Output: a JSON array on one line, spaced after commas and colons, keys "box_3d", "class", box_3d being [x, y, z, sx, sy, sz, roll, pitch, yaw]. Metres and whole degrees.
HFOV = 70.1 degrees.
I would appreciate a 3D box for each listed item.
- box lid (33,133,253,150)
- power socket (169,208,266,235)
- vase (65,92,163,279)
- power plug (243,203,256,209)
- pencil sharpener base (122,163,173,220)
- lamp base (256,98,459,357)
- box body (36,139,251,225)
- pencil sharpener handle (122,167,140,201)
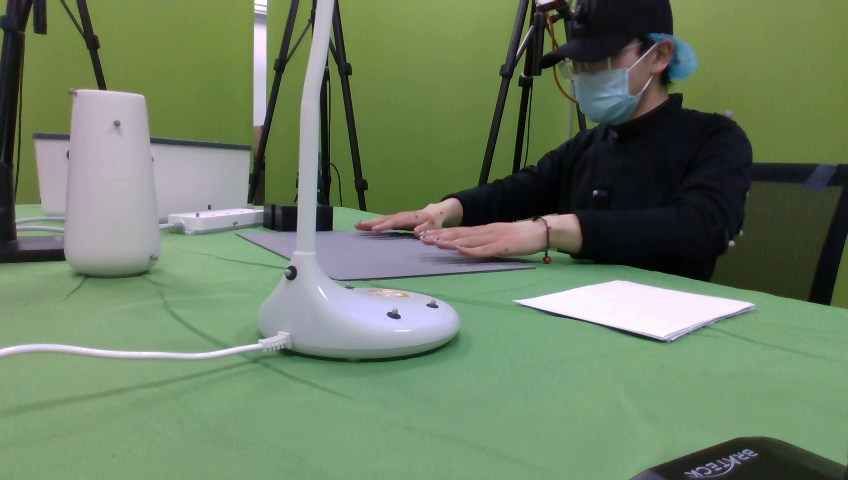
[{"box_3d": [-0.555, -0.199, 1.249, 0.263, 0.015, 0.372, 5, 8, 15], "class": "box lid"}, {"box_3d": [-0.379, -0.038, 1.129, 0.072, 0.032, 0.227, 4, 8, 18], "class": "power socket"}, {"box_3d": [-0.347, -0.060, 0.673, 0.098, 0.200, 0.098, 1, 7, 0], "class": "vase"}, {"box_3d": [-0.377, -0.049, 1.271, 0.052, 0.035, 0.072, -4, 35, 27], "class": "power plug"}, {"box_3d": [-0.539, -0.095, 1.174, 0.076, 0.107, 0.061, 4, 7, 21], "class": "pencil sharpener base"}, {"box_3d": [-0.055, -0.013, 0.463, 0.160, 0.180, 0.180, 6, 11, 27], "class": "lamp base"}, {"box_3d": [-0.558, -0.127, 1.257, 0.253, 0.160, 0.365, 4, 8, 15], "class": "box body"}, {"box_3d": [-0.585, -0.111, 1.193, 0.030, 0.068, 0.036, 4, 14, 21], "class": "pencil sharpener handle"}]
